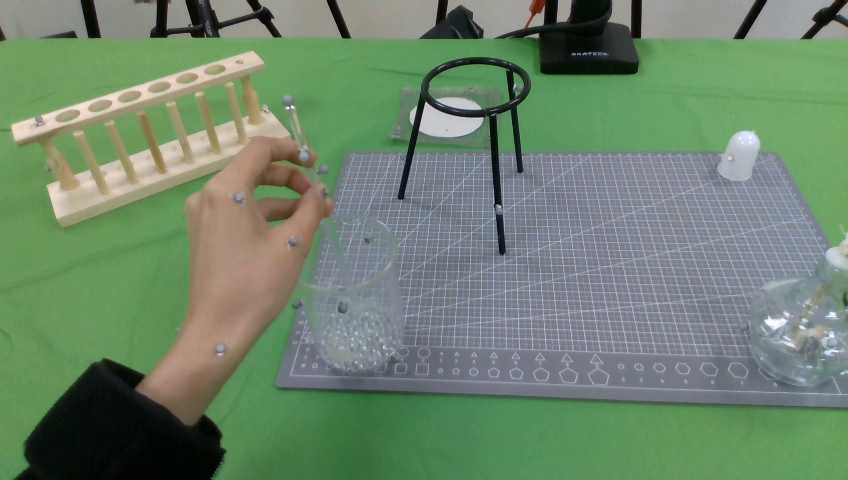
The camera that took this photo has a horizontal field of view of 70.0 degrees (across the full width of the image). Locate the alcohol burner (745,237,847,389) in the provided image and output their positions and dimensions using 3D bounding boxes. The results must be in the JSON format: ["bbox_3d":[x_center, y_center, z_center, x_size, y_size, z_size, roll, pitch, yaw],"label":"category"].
[{"bbox_3d":[0.263,0.045,0.405,0.078,0.120,0.077,-2,41,2],"label":"alcohol burner"}]

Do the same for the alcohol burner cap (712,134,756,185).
[{"bbox_3d":[0.303,-0.081,0.589,0.034,0.048,0.033,-2,43,2],"label":"alcohol burner cap"}]

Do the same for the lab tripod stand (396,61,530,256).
[{"bbox_3d":[0.040,-0.078,0.536,0.148,0.133,0.147,-3,45,3],"label":"lab tripod stand"}]

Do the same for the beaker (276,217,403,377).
[{"bbox_3d":[-0.056,0.045,0.437,0.084,0.101,0.073,-1,43,4],"label":"beaker"}]

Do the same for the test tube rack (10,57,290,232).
[{"bbox_3d":[-0.270,-0.103,0.624,0.242,0.086,0.066,-25,47,-21],"label":"test tube rack"}]

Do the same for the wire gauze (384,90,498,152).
[{"bbox_3d":[0.022,-0.141,0.703,0.125,0.011,0.120,3,42,8],"label":"wire gauze"}]

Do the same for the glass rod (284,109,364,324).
[{"bbox_3d":[-0.063,-0.003,0.411,0.008,0.202,0.008,-5,46,6],"label":"glass rod"}]
